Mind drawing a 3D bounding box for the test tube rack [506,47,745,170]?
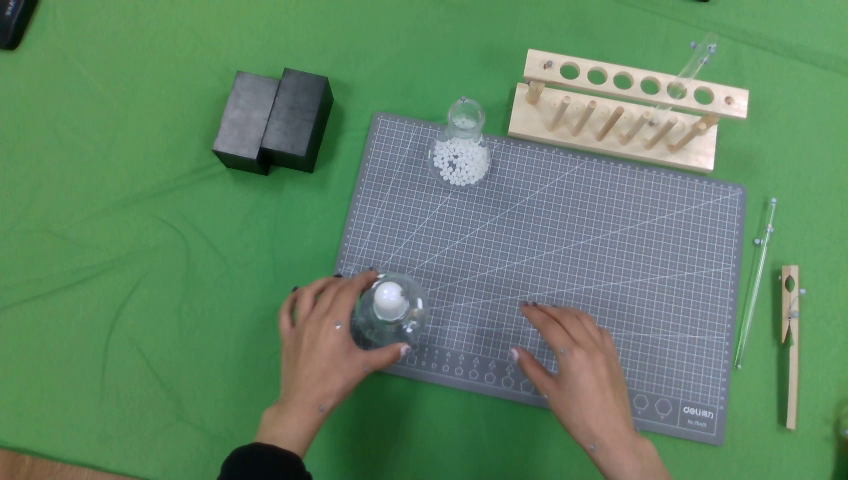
[{"bbox_3d":[0.223,-0.147,0.692,0.242,0.085,0.066,11,76,2],"label":"test tube rack"}]

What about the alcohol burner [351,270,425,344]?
[{"bbox_3d":[-0.038,0.065,0.618,0.078,0.119,0.077,0,74,1],"label":"alcohol burner"}]

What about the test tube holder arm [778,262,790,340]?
[{"bbox_3d":[0.404,0.068,0.678,0.010,0.015,0.087,-4,73,36],"label":"test tube holder arm"}]

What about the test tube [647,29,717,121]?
[{"bbox_3d":[0.271,-0.171,0.647,0.017,0.151,0.017,1,70,-1],"label":"test tube"}]

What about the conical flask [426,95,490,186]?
[{"bbox_3d":[0.040,-0.111,0.658,0.075,0.122,0.075,0,76,-1],"label":"conical flask"}]

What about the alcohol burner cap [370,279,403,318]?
[{"bbox_3d":[-0.037,0.054,0.584,0.034,0.048,0.033,1,68,-2],"label":"alcohol burner cap"}]

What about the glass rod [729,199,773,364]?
[{"bbox_3d":[0.371,0.045,0.687,0.008,0.008,0.199,19,79,3],"label":"glass rod"}]

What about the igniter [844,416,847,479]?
[{"bbox_3d":[0.484,0.175,0.647,0.057,0.025,0.275,22,77,-6],"label":"igniter"}]

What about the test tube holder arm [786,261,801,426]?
[{"bbox_3d":[0.404,0.111,0.664,0.013,0.015,0.177,-5,73,35],"label":"test tube holder arm"}]
